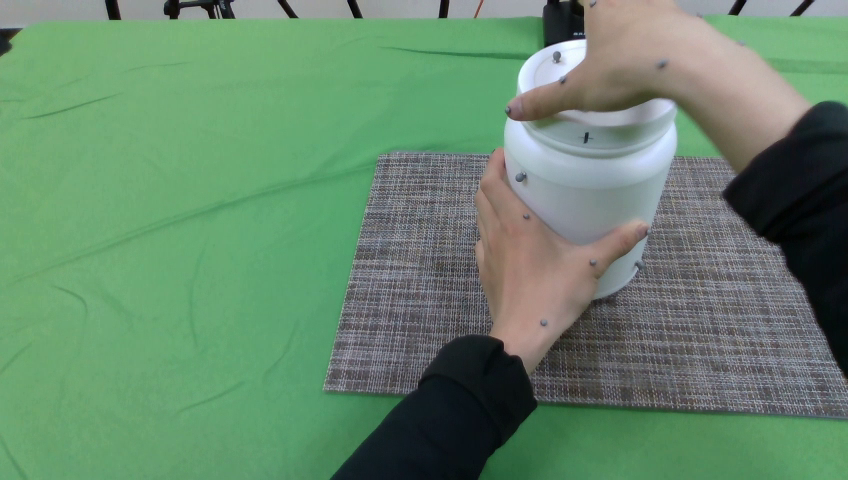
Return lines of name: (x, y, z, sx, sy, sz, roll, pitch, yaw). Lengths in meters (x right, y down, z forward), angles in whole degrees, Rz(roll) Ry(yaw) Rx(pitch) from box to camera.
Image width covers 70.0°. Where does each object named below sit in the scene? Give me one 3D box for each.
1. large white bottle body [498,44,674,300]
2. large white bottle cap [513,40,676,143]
large white bottle body: (0.128, -0.053, 0.503, 0.130, 0.186, 0.129, -2, 47, 2)
large white bottle cap: (0.123, -0.111, 0.441, 0.115, 0.018, 0.113, -1, 46, 2)
